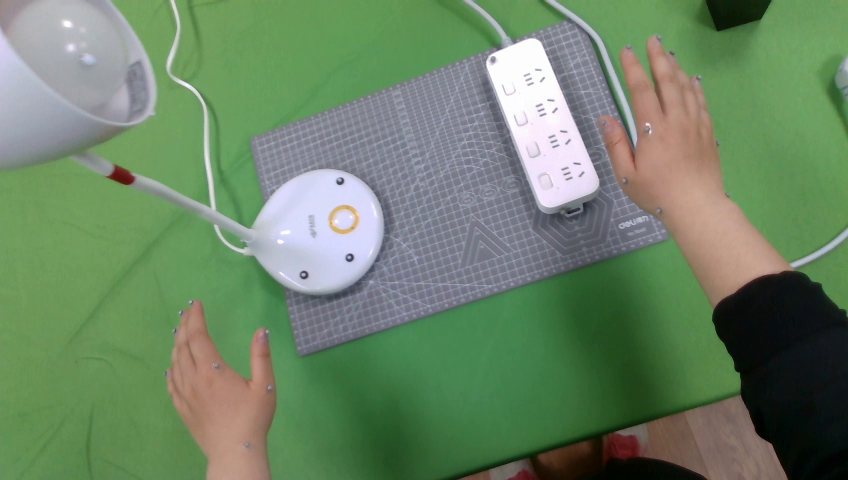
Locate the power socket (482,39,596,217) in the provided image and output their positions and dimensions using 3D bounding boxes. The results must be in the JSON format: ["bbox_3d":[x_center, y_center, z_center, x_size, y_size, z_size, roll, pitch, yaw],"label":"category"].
[{"bbox_3d":[0.132,-0.135,0.711,0.072,0.033,0.225,-20,74,6],"label":"power socket"}]

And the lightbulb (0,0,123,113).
[{"bbox_3d":[-0.223,-0.094,0.344,0.107,0.060,0.059,-19,75,15],"label":"lightbulb"}]

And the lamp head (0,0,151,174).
[{"bbox_3d":[-0.244,-0.088,0.358,0.123,0.113,0.111,-28,73,21],"label":"lamp head"}]

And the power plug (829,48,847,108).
[{"bbox_3d":[0.471,-0.174,0.659,0.053,0.035,0.072,-14,96,-3],"label":"power plug"}]

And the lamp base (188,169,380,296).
[{"bbox_3d":[-0.158,-0.022,0.669,0.179,0.181,0.159,-25,74,8],"label":"lamp base"}]
